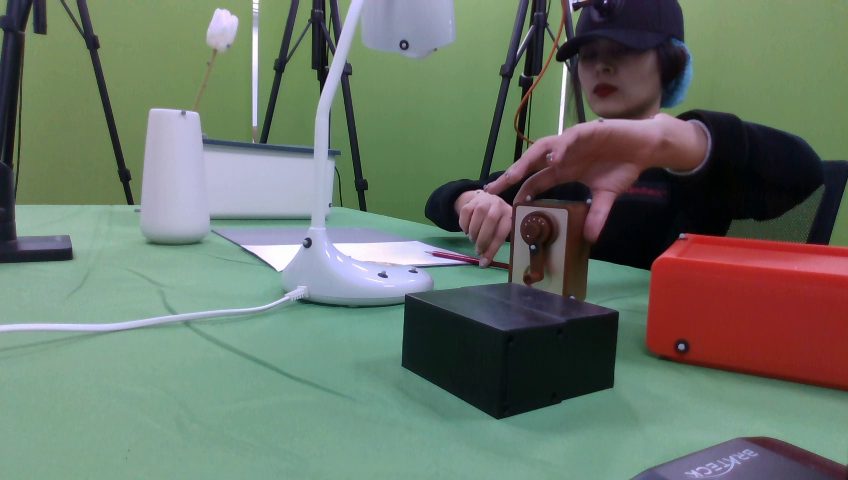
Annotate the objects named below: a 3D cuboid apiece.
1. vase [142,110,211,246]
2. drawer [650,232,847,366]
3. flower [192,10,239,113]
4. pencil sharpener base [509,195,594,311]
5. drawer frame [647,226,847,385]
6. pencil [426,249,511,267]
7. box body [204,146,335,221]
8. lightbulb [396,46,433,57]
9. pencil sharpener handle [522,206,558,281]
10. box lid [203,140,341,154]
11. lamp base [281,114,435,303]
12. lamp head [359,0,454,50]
[{"bbox_3d":[-0.378,-0.093,0.920,0.098,0.200,0.098,2,9,0],"label":"vase"},{"bbox_3d":[0.303,0.042,0.498,0.194,0.073,0.212,6,8,27],"label":"drawer"},{"bbox_3d":[-0.354,-0.174,0.915,0.038,0.361,0.044,18,-4,11],"label":"flower"},{"bbox_3d":[0.126,0.011,0.602,0.061,0.107,0.077,7,9,30],"label":"pencil sharpener base"},{"bbox_3d":[0.303,0.042,0.495,0.201,0.082,0.214,6,9,26],"label":"drawer frame"},{"bbox_3d":[0.076,0.026,0.839,0.193,0.012,0.012,9,10,40],"label":"pencil"},{"bbox_3d":[-0.411,-0.135,1.386,0.366,0.160,0.253,-2,9,-29],"label":"box body"},{"bbox_3d":[-0.018,-0.265,0.692,0.059,0.108,0.059,-10,28,6],"label":"lightbulb"},{"bbox_3d":[0.102,0.003,0.555,0.036,0.067,0.031,0,6,31],"label":"pencil sharpener handle"},{"bbox_3d":[-0.396,-0.213,1.373,0.373,0.015,0.262,-1,9,-29],"label":"box lid"},{"bbox_3d":[-0.071,-0.035,0.615,0.160,0.180,0.180,6,10,27],"label":"lamp base"},{"bbox_3d":[-0.024,-0.283,0.674,0.112,0.123,0.112,-3,38,3],"label":"lamp head"}]
